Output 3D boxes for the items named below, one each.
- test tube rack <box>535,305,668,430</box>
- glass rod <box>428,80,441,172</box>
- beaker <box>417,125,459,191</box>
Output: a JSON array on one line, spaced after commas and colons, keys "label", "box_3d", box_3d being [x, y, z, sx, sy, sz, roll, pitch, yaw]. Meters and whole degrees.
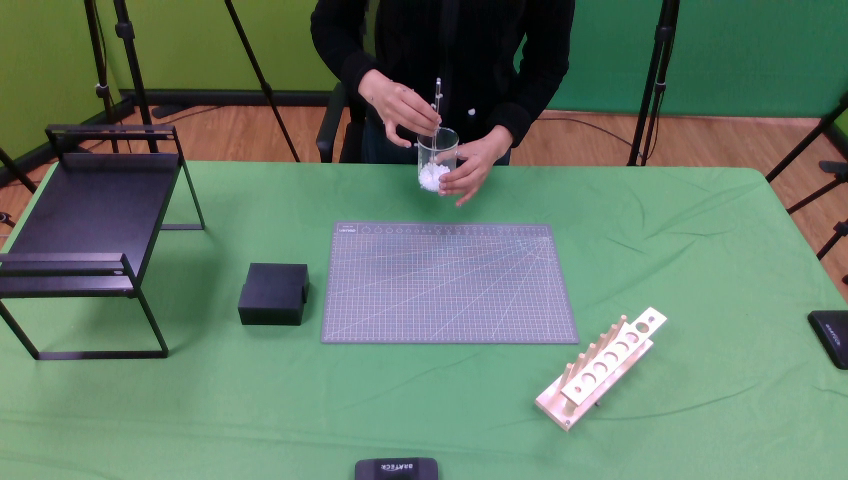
[{"label": "test tube rack", "box_3d": [0.290, 0.193, 0.984, 0.242, 0.085, 0.066, -32, 57, -30]}, {"label": "glass rod", "box_3d": [0.018, -0.194, 1.057, 0.008, 0.200, 0.008, 3, 49, -3]}, {"label": "beaker", "box_3d": [0.024, -0.147, 1.092, 0.074, 0.101, 0.083, 4, 44, 2]}]
